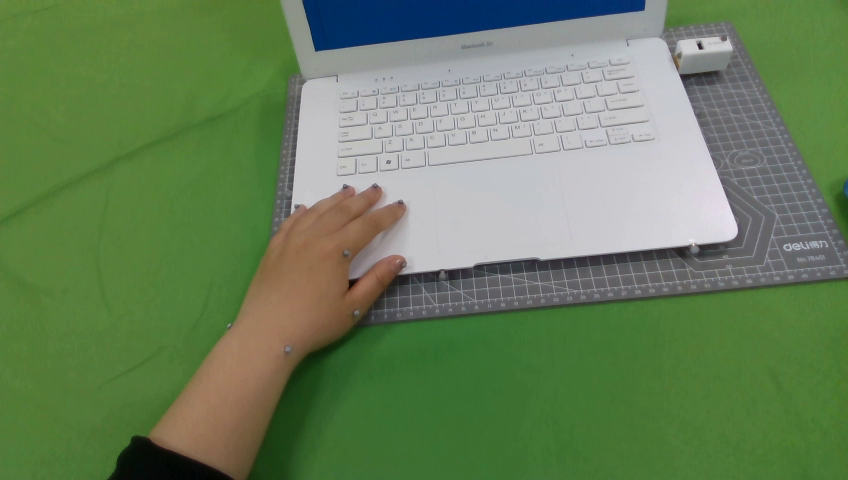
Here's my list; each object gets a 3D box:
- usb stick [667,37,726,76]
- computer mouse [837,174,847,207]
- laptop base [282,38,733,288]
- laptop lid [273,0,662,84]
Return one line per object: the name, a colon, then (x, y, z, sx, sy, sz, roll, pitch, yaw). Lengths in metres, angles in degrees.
usb stick: (0.241, -0.168, 0.556, 0.059, 0.027, 0.021, -7, 56, 8)
computer mouse: (0.360, -0.015, 0.440, 0.063, 0.041, 0.116, -11, 51, 3)
laptop base: (0.056, -0.074, 0.533, 0.354, 0.023, 0.233, -6, 59, 3)
laptop lid: (0.034, -0.257, 0.518, 0.356, 0.244, 0.013, -7, 43, 4)
